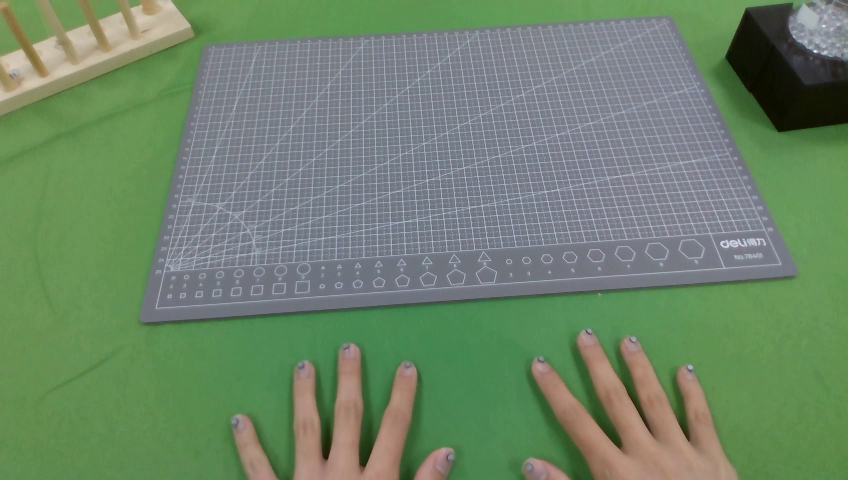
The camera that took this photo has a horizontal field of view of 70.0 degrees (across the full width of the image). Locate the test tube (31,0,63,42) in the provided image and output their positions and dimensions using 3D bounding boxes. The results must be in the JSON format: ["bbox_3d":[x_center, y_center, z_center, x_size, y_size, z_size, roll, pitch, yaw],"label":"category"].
[{"bbox_3d":[-0.337,-0.237,0.507,0.017,0.151,0.017,0,47,0],"label":"test tube"}]

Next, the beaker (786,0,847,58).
[{"bbox_3d":[0.322,-0.196,0.449,0.074,0.101,0.083,-27,57,-16],"label":"beaker"}]

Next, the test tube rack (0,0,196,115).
[{"bbox_3d":[-0.340,-0.186,0.533,0.242,0.086,0.066,-30,59,-18],"label":"test tube rack"}]

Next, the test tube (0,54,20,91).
[{"bbox_3d":[-0.366,-0.180,0.475,0.017,0.152,0.017,-1,54,1],"label":"test tube"}]
